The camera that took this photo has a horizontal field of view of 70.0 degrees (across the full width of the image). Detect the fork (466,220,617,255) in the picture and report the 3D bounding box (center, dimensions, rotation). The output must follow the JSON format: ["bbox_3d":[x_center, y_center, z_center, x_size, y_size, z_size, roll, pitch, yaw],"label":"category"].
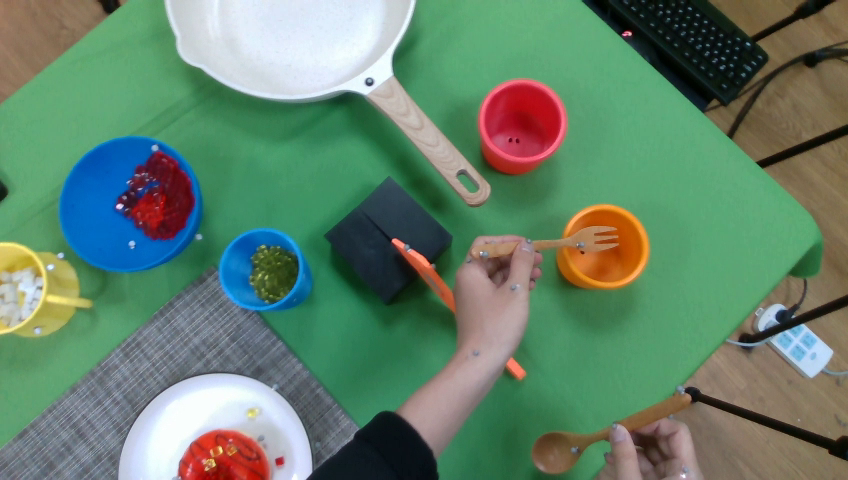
[{"bbox_3d":[0.123,-0.001,0.599,0.208,0.018,0.028,-6,95,-38],"label":"fork"}]

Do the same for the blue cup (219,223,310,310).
[{"bbox_3d":[-0.164,0.034,0.659,0.092,0.100,0.092,0,78,0],"label":"blue cup"}]

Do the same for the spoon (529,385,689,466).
[{"bbox_3d":[0.167,0.175,0.568,0.022,0.194,0.041,-17,72,-41],"label":"spoon"}]

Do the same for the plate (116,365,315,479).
[{"bbox_3d":[-0.220,0.240,0.652,0.209,0.038,0.208,0,81,0],"label":"plate"}]

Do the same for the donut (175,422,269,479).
[{"bbox_3d":[-0.213,0.243,0.641,0.099,0.048,0.099,0,83,-2],"label":"donut"}]

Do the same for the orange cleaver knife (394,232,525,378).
[{"bbox_3d":[0.039,0.072,0.662,0.012,0.076,0.213,-43,111,-7],"label":"orange cleaver knife"}]

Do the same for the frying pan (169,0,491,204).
[{"bbox_3d":[-0.087,-0.223,0.700,0.307,0.103,0.485,-37,74,-5],"label":"frying pan"}]

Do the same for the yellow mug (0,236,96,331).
[{"bbox_3d":[-0.434,0.053,0.674,0.131,0.064,0.099,10,81,1],"label":"yellow mug"}]

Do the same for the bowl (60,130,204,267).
[{"bbox_3d":[-0.313,-0.039,0.683,0.151,0.077,0.151,0,81,0],"label":"bowl"}]
